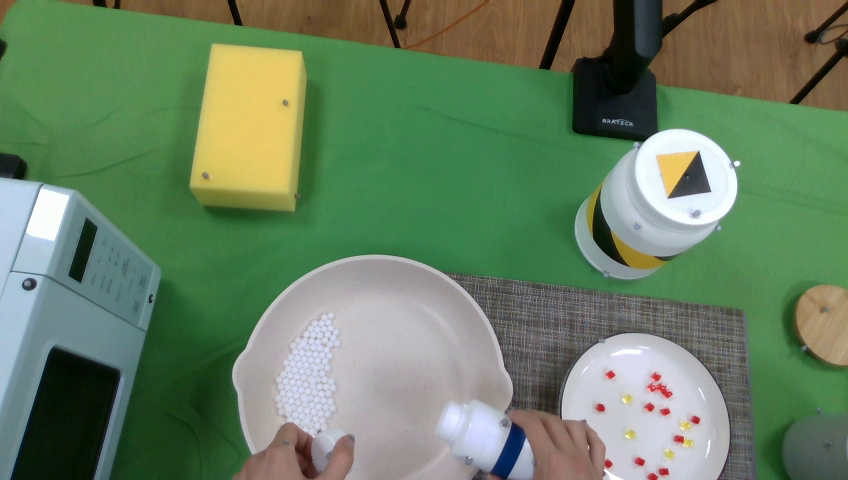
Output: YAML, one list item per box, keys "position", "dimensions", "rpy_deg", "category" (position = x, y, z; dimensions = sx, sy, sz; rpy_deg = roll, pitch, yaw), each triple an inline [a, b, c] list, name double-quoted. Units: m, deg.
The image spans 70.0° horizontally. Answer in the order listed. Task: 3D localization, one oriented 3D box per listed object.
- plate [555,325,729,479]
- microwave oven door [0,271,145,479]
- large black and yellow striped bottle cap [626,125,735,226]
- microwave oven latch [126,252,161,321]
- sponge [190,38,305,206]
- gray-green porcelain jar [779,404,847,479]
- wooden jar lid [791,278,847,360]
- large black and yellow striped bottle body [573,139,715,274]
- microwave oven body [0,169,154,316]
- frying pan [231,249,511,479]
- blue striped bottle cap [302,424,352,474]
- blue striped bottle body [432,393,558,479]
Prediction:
- position: [0.257, 0.207, 0.726]
  dimensions: [0.209, 0.038, 0.208]
  rpy_deg: [2, 72, -4]
  category: "plate"
- position: [-0.348, 0.226, 0.536]
  dimensions: [0.039, 0.245, 0.353]
  rpy_deg: [7, 71, -3]
  category: "microwave oven door"
- position: [0.277, -0.071, 0.655]
  dimensions: [0.115, 0.019, 0.114]
  rpy_deg: [2, 70, -4]
  category: "large black and yellow striped bottle cap"
- position: [-0.329, 0.053, 0.702]
  dimensions: [0.030, 0.029, 0.078]
  rpy_deg: [10, 72, -3]
  category: "microwave oven latch"
- position: [-0.224, -0.153, 0.787]
  dimensions: [0.118, 0.061, 0.205]
  rpy_deg: [2, 72, -5]
  category: "sponge"
- position: [0.486, 0.243, 0.694]
  dimensions: [0.106, 0.127, 0.105]
  rpy_deg: [2, 71, -5]
  category: "gray-green porcelain jar"
- position: [0.535, 0.105, 0.801]
  dimensions: [0.108, 0.021, 0.107]
  rpy_deg: [2, 73, -5]
  category: "wooden jar lid"
- position: [0.270, -0.043, 0.737]
  dimensions: [0.131, 0.185, 0.130]
  rpy_deg: [2, 71, -5]
  category: "large black and yellow striped bottle body"
- position: [-0.487, 0.168, 0.547]
  dimensions: [0.326, 0.261, 0.439]
  rpy_deg: [8, 72, -3]
  category: "microwave oven body"
- position: [-0.067, 0.250, 0.646]
  dimensions: [0.307, 0.103, 0.484]
  rpy_deg: [6, 63, -1]
  category: "frying pan"
- position: [-0.090, 0.193, 0.557]
  dimensions: [0.044, 0.021, 0.044]
  rpy_deg: [-8, 71, 26]
  category: "blue striped bottle cap"
- position: [0.070, 0.199, 0.620]
  dimensions: [0.121, 0.063, 0.063]
  rpy_deg: [25, 71, -2]
  category: "blue striped bottle body"
